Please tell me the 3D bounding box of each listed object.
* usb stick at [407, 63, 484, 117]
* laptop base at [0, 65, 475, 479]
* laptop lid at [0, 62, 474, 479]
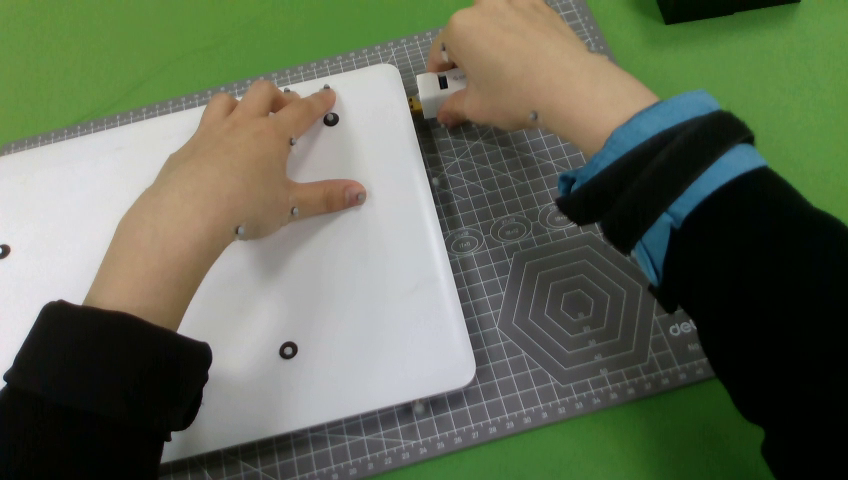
[{"bbox_3d":[0.011,-0.100,0.412,0.059,0.027,0.021,-10,66,4],"label":"usb stick"},{"bbox_3d":[-0.164,0.021,0.388,0.354,0.023,0.233,-14,68,0],"label":"laptop base"},{"bbox_3d":[-0.165,0.018,0.377,0.357,0.013,0.239,-12,67,0],"label":"laptop lid"}]
